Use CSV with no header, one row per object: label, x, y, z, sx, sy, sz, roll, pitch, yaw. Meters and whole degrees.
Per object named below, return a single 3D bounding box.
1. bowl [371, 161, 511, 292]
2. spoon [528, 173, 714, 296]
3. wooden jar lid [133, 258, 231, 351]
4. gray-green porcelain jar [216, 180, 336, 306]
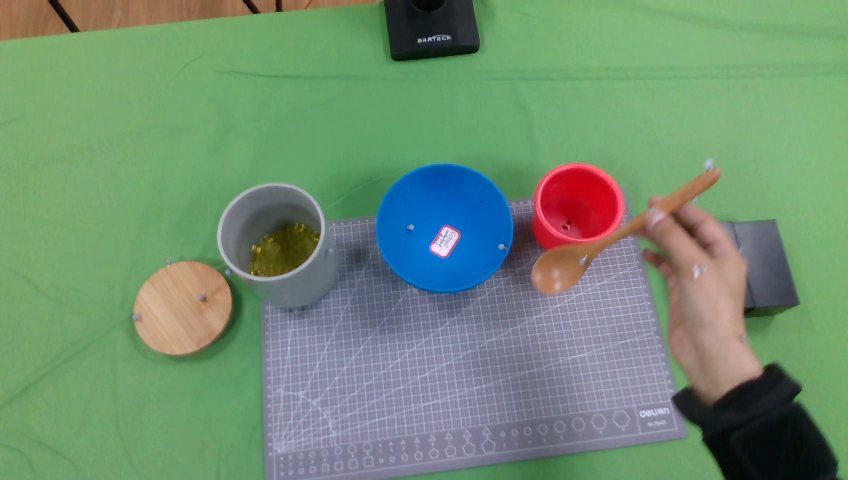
bowl,0.019,-0.006,0.686,0.151,0.077,0.150,0,70,0
spoon,0.165,-0.001,0.530,0.021,0.194,0.041,-28,83,-47
wooden jar lid,-0.273,0.074,0.688,0.108,0.021,0.107,0,70,0
gray-green porcelain jar,-0.152,0.010,0.653,0.106,0.127,0.105,0,70,-1
